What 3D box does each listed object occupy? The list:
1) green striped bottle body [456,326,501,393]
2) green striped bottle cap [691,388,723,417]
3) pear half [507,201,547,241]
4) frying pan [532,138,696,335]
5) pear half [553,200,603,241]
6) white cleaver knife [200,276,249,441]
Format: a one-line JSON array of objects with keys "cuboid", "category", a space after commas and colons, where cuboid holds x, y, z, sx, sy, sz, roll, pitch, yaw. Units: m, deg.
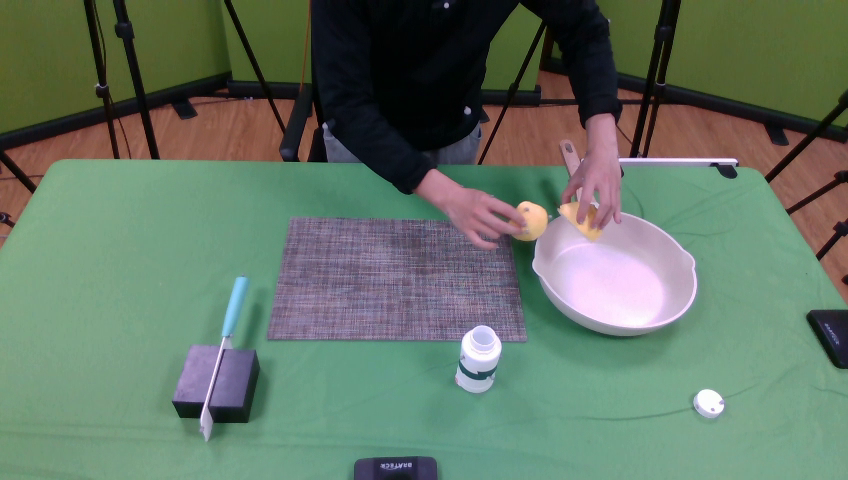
[{"cuboid": [0.086, 0.185, 0.959, 0.063, 0.120, 0.063, 2, 46, -2], "category": "green striped bottle body"}, {"cuboid": [0.460, 0.263, 0.984, 0.044, 0.020, 0.044, 3, 46, -3], "category": "green striped bottle cap"}, {"cuboid": [0.178, -0.027, 1.020, 0.070, 0.088, 0.031, -27, 49, -2], "category": "pear half"}, {"cuboid": [0.336, -0.024, 1.190, 0.307, 0.103, 0.484, -2, 55, -7], "category": "frying pan"}, {"cuboid": [0.277, -0.050, 1.094, 0.110, 0.056, 0.076, 35, 4, -25], "category": "pear half"}, {"cuboid": [-0.321, 0.177, 0.972, 0.021, 0.066, 0.284, 7, 48, -5], "category": "white cleaver knife"}]
